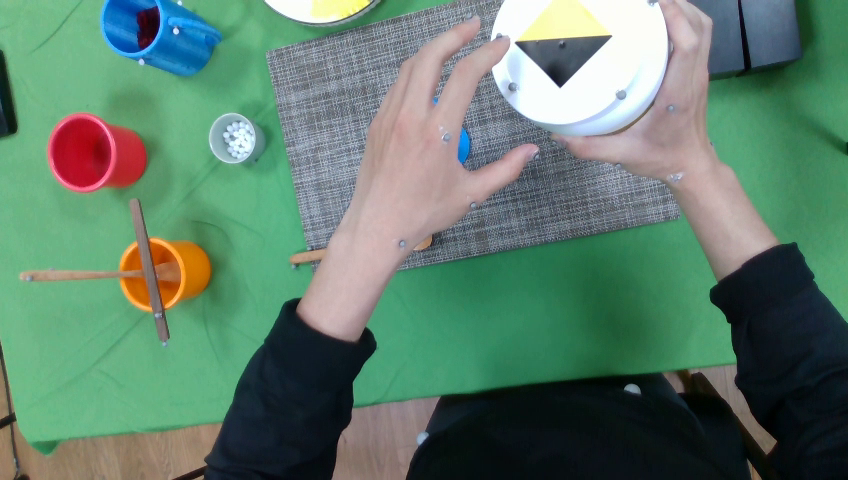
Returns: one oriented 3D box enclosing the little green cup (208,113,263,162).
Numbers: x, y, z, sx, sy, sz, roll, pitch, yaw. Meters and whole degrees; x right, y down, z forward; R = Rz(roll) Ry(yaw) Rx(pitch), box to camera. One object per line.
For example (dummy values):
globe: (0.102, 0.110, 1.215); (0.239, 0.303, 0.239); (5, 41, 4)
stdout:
little green cup: (-0.235, -0.127, 0.762); (0.061, 0.038, 0.061); (1, 95, 11)

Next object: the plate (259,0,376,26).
plate: (-0.123, -0.359, 0.723); (0.209, 0.038, 0.209); (1, 95, 10)

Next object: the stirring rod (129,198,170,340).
stirring rod: (-0.333, 0.035, 0.734); (0.014, 0.006, 0.176); (-11, 92, 12)

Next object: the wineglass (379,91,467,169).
wineglass: (0.004, -0.112, 0.648); (0.073, 0.172, 0.074); (1, 94, 11)

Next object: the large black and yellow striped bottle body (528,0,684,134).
large black and yellow striped bottle body: (0.143, -0.157, 0.516); (0.130, 0.184, 0.131); (6, 102, 29)

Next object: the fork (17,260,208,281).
fork: (-0.375, 0.040, 0.744); (0.208, 0.018, 0.028); (-1, 102, -33)

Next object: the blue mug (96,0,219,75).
blue mug: (-0.308, -0.251, 0.731); (0.116, 0.106, 0.082); (3, 95, 10)

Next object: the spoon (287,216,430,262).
spoon: (-0.085, 0.005, 0.750); (0.193, 0.021, 0.042); (-12, 113, 11)

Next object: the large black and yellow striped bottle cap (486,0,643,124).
large black and yellow striped bottle cap: (0.100, -0.144, 0.445); (0.114, 0.019, 0.115); (5, 101, 28)
